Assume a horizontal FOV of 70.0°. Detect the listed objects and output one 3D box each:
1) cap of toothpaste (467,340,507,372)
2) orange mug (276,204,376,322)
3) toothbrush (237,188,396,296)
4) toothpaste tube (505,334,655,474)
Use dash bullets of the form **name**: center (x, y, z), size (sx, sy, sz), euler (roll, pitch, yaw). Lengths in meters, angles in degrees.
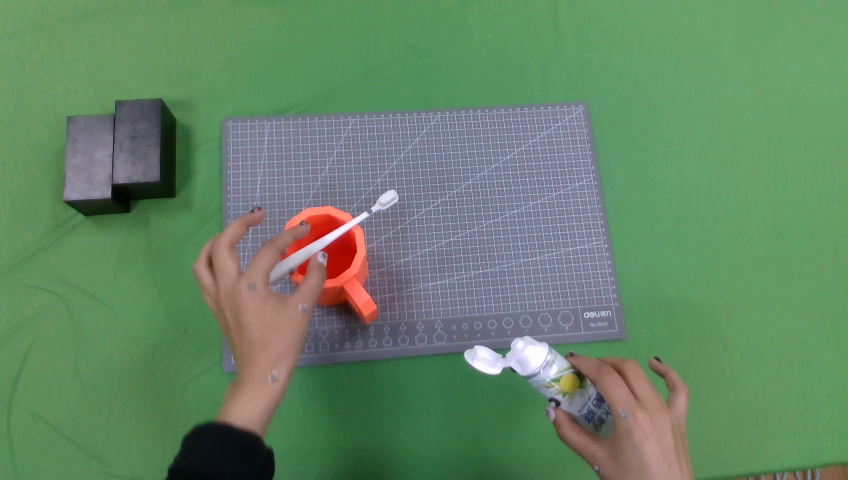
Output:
- **cap of toothpaste**: center (0.054, 0.097, 0.513), size (0.037, 0.037, 0.011), euler (24, 111, 2)
- **orange mug**: center (-0.095, 0.031, 0.641), size (0.083, 0.101, 0.125), euler (-38, 76, -13)
- **toothbrush**: center (-0.103, 0.000, 0.594), size (0.182, 0.017, 0.014), euler (-34, 83, -12)
- **toothpaste tube**: center (0.133, 0.138, 0.527), size (0.166, 0.034, 0.055), euler (40, 85, -13)
